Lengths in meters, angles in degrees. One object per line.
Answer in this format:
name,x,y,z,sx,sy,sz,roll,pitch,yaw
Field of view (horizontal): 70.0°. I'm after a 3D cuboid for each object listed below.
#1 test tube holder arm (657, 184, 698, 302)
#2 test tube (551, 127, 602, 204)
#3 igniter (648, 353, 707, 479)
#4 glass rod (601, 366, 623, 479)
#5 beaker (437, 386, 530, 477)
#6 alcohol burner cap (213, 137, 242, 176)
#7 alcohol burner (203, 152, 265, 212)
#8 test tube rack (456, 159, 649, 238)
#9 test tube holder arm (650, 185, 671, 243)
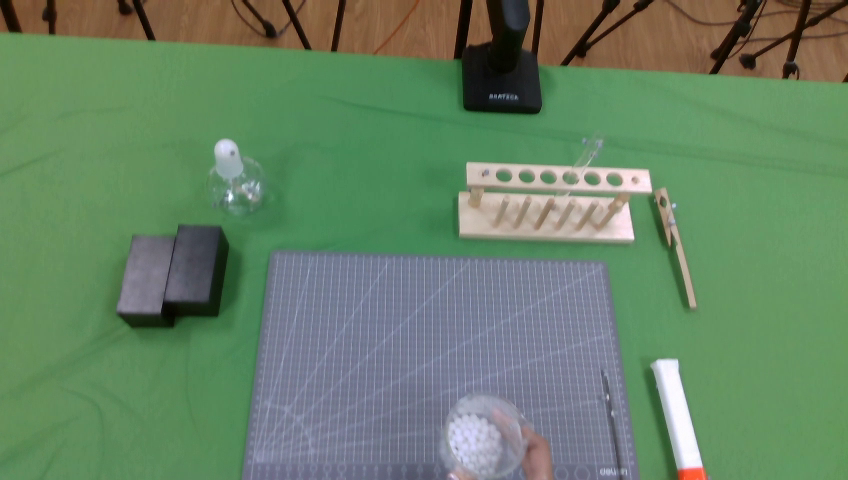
test tube holder arm,0.350,0.002,0.840,0.013,0.015,0.177,-20,63,24
test tube,0.192,-0.091,0.779,0.017,0.151,0.017,5,60,-8
igniter,0.307,0.267,0.703,0.057,0.025,0.274,3,63,-15
glass rod,0.225,0.246,0.711,0.008,0.008,0.198,1,64,-5
beaker,0.053,0.188,0.585,0.084,0.101,0.073,-9,66,-9
alcohol burner cap,-0.241,-0.106,0.741,0.034,0.048,0.033,5,57,-8
alcohol burner,-0.245,-0.088,0.772,0.078,0.120,0.077,2,62,-3
test tube rack,0.169,-0.053,0.813,0.243,0.086,0.066,2,64,-5
test tube holder arm,0.339,-0.037,0.861,0.010,0.015,0.087,-20,63,24
